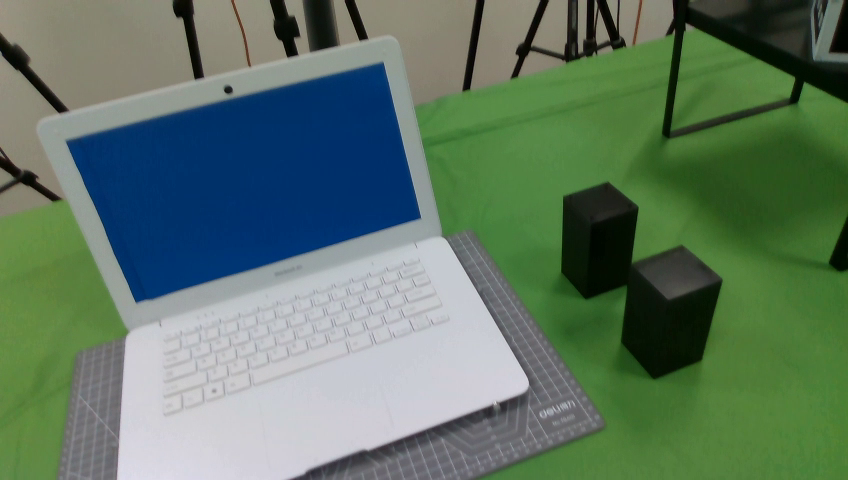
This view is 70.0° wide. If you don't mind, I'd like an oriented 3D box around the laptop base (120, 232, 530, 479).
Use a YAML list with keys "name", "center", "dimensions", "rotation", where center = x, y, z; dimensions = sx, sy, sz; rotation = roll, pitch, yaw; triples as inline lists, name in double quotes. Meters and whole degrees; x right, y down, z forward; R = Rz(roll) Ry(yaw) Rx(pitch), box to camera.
- name: "laptop base"
  center: [-0.106, 0.114, 0.582]
  dimensions: [0.355, 0.023, 0.232]
  rotation: [-17, 43, -10]

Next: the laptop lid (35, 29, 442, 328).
- name: "laptop lid"
  center: [-0.169, -0.060, 0.626]
  dimensions: [0.357, 0.243, 0.013]
  rotation: [-19, 22, -10]
